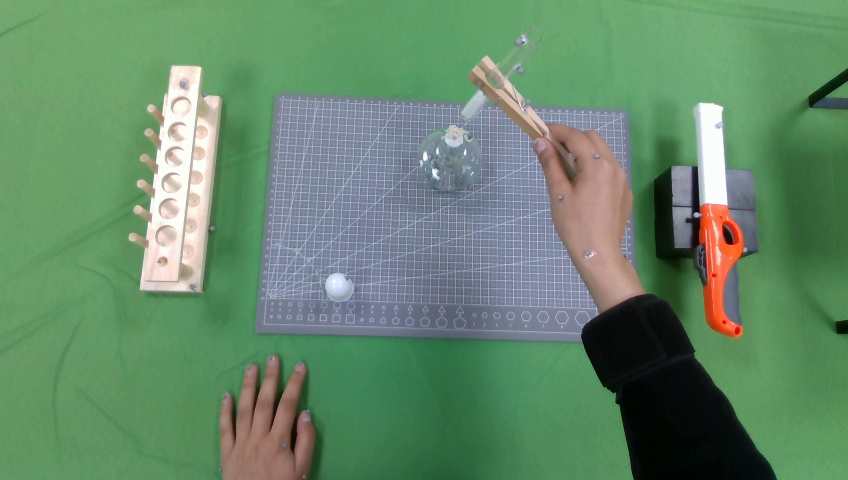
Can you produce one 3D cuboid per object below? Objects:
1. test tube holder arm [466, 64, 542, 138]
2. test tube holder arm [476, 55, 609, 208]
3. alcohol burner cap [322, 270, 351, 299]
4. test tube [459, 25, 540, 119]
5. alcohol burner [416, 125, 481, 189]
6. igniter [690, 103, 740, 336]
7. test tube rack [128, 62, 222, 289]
[{"bbox_3d":[0.075,-0.126,0.552,0.088,0.015,0.010,40,71,-9],"label":"test tube holder arm"},{"bbox_3d":[0.110,-0.098,0.560,0.179,0.015,0.013,47,71,-7],"label":"test tube holder arm"},{"bbox_3d":[-0.101,0.049,0.691,0.034,0.048,0.033,1,78,-4],"label":"alcohol burner cap"},{"bbox_3d":[0.063,-0.145,0.545,0.017,0.150,0.017,4,75,-17],"label":"test tube"},{"bbox_3d":[0.029,-0.102,0.696,0.078,0.119,0.077,0,78,-1],"label":"alcohol burner"},{"bbox_3d":[0.333,-0.029,0.697,0.057,0.025,0.275,4,75,-5],"label":"igniter"},{"bbox_3d":[-0.286,-0.071,0.686,0.067,0.085,0.241,2,77,-3],"label":"test tube rack"}]
